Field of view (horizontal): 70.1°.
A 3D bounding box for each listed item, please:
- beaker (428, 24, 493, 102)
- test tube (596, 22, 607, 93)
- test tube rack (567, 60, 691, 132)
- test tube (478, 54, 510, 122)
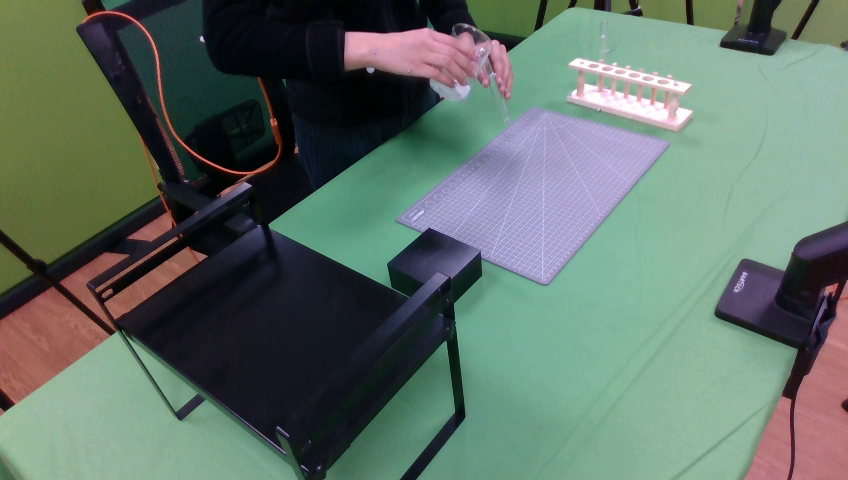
[{"bbox_3d":[0.057,-0.281,0.977,0.073,0.084,0.100,24,84,29],"label":"beaker"},{"bbox_3d":[0.363,-0.372,1.240,0.017,0.151,0.017,-6,40,5],"label":"test tube"},{"bbox_3d":[0.411,-0.300,1.217,0.240,0.085,0.067,26,51,33],"label":"test tube rack"},{"bbox_3d":[0.127,-0.265,1.072,0.017,0.151,0.017,-14,49,18],"label":"test tube"}]
